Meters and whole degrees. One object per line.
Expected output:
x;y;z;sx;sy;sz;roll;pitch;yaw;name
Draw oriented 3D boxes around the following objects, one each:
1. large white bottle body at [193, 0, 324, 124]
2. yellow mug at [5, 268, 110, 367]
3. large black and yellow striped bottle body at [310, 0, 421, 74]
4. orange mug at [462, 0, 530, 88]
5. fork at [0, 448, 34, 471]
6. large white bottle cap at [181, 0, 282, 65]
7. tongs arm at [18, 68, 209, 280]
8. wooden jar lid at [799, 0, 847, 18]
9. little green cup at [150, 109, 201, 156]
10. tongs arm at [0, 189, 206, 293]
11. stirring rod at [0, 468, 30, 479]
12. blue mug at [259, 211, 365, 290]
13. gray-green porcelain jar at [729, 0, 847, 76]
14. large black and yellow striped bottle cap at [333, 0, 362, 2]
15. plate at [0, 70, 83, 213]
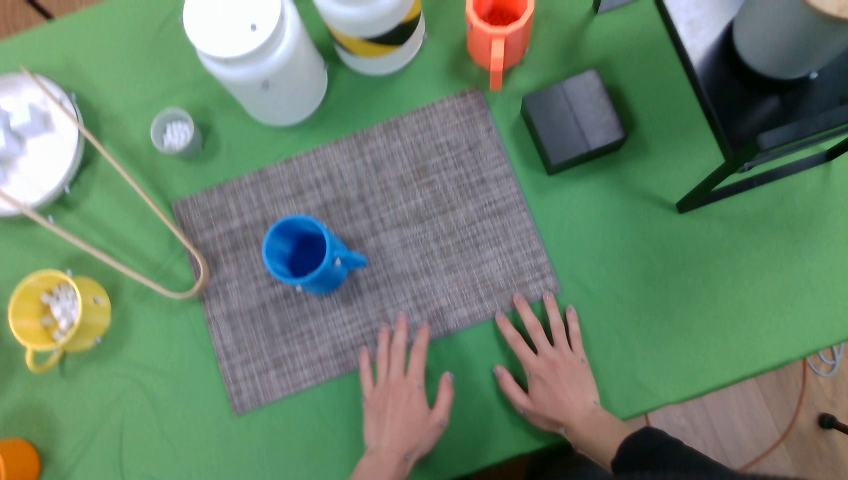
-0.211;-0.240;0.772;0.130;0.185;0.130;-1;79;5;large white bottle body
-0.485;0.104;0.794;0.100;0.064;0.130;18;83;7;yellow mug
-0.076;-0.311;0.774;0.130;0.185;0.130;-1;79;5;large black and yellow striped bottle body
0.093;-0.270;0.796;0.083;0.101;0.125;2;76;6;orange mug
-0.593;0.280;0.729;0.209;0.018;0.028;3;75;-39;fork
-0.219;-0.256;0.689;0.115;0.018;0.114;-1;80;5;large white bottle cap
-0.420;-0.094;0.821;0.028;0.028;0.387;-44;86;-12;tongs arm
0.352;-0.235;0.508;0.108;0.021;0.108;-1;82;6;wooden jar lid
-0.343;-0.147;0.841;0.061;0.039;0.061;-1;81;4;little green cup
-0.470;-0.027;0.811;0.384;0.026;0.050;32;80;2;tongs arm
-0.579;0.294;0.728;0.006;0.177;0.014;-39;57;41;stirring rod
-0.131;0.017;0.756;0.116;0.106;0.082;5;80;6;blue mug
0.358;-0.223;0.569;0.106;0.127;0.105;-1;80;6;gray-green porcelain jar
-0.085;-0.328;0.691;0.115;0.019;0.114;-1;80;4;large black and yellow striped bottle cap
-0.579;-0.137;0.859;0.207;0.039;0.207;-1;80;5;plate
